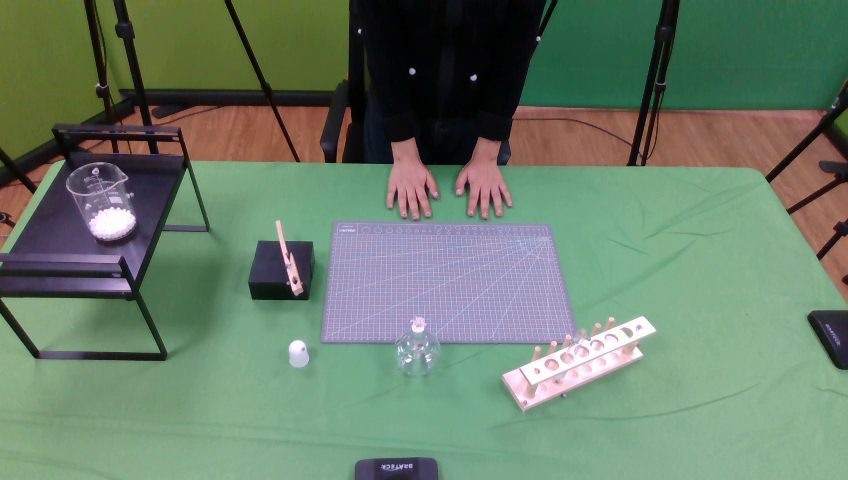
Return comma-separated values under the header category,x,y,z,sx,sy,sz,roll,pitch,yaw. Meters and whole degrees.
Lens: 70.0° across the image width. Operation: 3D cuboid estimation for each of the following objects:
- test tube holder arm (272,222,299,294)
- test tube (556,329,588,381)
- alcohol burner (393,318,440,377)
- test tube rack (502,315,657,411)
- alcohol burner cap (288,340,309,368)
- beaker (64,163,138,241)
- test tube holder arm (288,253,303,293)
category,x,y,z,sx,sy,sz,roll,pitch,yaw
test tube holder arm,-0.250,0.028,1.087,0.013,0.015,0.177,-17,48,-16
test tube,0.224,0.178,0.925,0.017,0.151,0.017,2,52,-2
alcohol burner,-0.012,0.166,0.971,0.078,0.120,0.077,1,45,-1
test tube rack,0.253,0.186,0.989,0.242,0.085,0.066,-18,50,-20
alcohol burner cap,-0.207,0.182,0.991,0.034,0.048,0.033,3,46,-3
beaker,-0.477,-0.055,0.910,0.084,0.101,0.073,-9,48,-13
test tube holder arm,-0.227,0.057,1.059,0.010,0.015,0.087,-15,48,-15
